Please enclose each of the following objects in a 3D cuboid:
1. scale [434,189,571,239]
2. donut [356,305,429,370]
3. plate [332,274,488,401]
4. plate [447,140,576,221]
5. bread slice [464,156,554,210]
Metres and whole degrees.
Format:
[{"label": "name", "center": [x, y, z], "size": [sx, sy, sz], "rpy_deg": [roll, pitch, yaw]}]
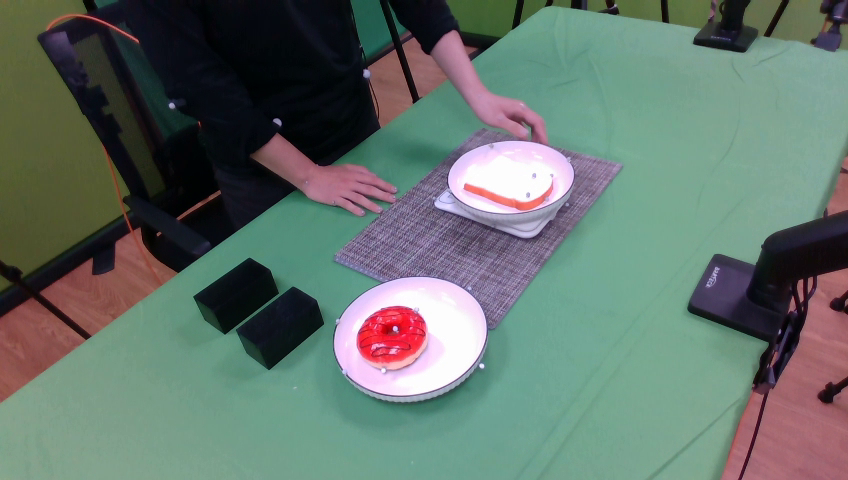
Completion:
[{"label": "scale", "center": [0.132, -0.075, 1.025], "size": [0.199, 0.032, 0.149], "rpy_deg": [22, 48, 30]}, {"label": "donut", "center": [-0.041, 0.127, 0.798], "size": [0.099, 0.048, 0.098], "rpy_deg": [-7, 40, 7]}, {"label": "plate", "center": [-0.017, 0.130, 0.808], "size": [0.207, 0.039, 0.206], "rpy_deg": [-4, 41, 4]}, {"label": "plate", "center": [0.143, -0.094, 0.995], "size": [0.209, 0.038, 0.208], "rpy_deg": [-4, 41, 4]}, {"label": "bread slice", "center": [0.148, -0.095, 0.998], "size": [0.130, 0.019, 0.105], "rpy_deg": [25, 51, 32]}]
